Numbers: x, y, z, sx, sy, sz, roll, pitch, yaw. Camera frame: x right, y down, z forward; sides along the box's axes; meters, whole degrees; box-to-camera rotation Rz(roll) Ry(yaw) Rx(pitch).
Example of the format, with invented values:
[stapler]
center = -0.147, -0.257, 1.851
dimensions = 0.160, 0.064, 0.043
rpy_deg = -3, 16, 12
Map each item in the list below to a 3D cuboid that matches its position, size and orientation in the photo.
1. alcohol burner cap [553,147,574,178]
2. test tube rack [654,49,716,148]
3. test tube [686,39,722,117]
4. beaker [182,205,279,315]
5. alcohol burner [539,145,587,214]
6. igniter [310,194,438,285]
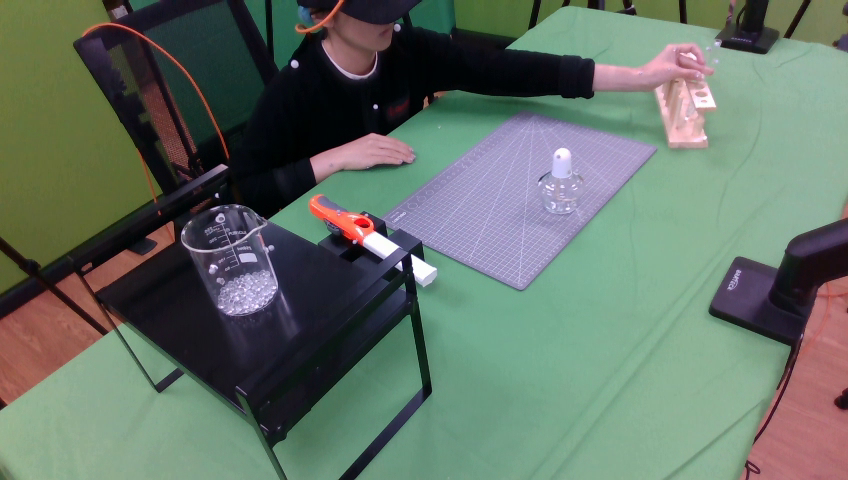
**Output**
[alcohol burner cap]
center = 0.224, -0.125, 0.965
dimensions = 0.034, 0.048, 0.033
rpy_deg = -5, 44, 5
[test tube rack]
center = 0.502, -0.281, 1.176
dimensions = 0.066, 0.085, 0.241
rpy_deg = 1, 41, 11
[test tube]
center = 0.511, -0.294, 1.106
dimensions = 0.017, 0.150, 0.017
rpy_deg = 3, 41, -2
[beaker]
center = -0.197, 0.024, 0.641
dimensions = 0.084, 0.101, 0.073
rpy_deg = -12, 41, -6
[alcohol burner]
center = 0.226, -0.102, 0.986
dimensions = 0.078, 0.119, 0.077
rpy_deg = -6, 41, 6
[igniter]
center = -0.086, -0.007, 0.921
dimensions = 0.274, 0.025, 0.057
rpy_deg = 31, 51, 34
